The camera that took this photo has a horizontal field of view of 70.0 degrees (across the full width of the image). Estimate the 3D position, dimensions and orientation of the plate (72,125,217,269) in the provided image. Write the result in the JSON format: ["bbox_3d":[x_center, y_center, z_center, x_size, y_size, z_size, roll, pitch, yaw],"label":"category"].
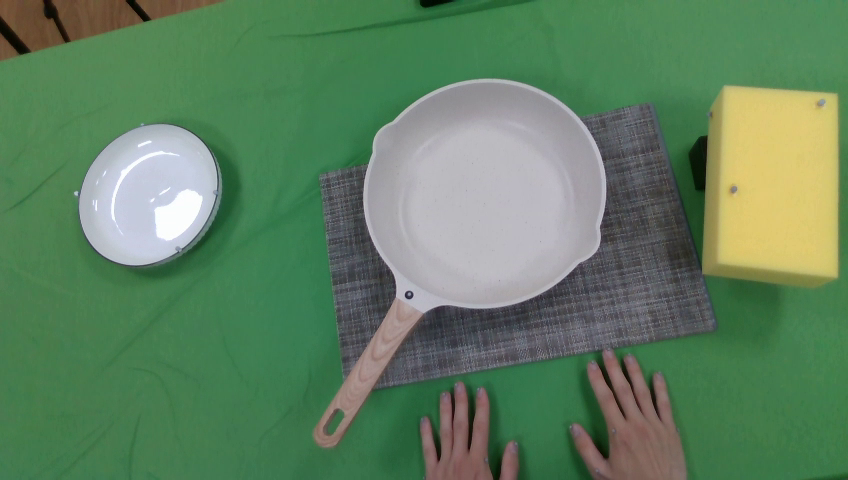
[{"bbox_3d":[-0.382,-0.058,0.843,0.207,0.039,0.206,-2,76,8],"label":"plate"}]

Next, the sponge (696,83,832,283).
[{"bbox_3d":[0.373,-0.064,0.668,0.118,0.061,0.206,6,77,10],"label":"sponge"}]

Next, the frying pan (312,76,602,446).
[{"bbox_3d":[0.012,0.025,0.725,0.305,0.103,0.486,30,74,16],"label":"frying pan"}]
